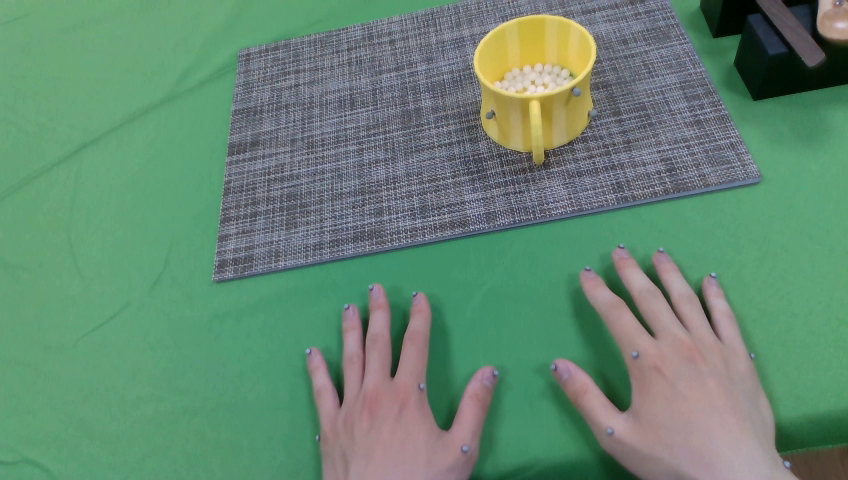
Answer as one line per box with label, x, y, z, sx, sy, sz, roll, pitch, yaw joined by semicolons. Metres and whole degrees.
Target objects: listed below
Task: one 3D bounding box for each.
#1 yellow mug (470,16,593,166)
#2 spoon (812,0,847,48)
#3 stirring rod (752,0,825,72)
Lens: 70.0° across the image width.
yellow mug;0.093;-0.121;0.514;0.100;0.064;0.129;-4;57;10
spoon;0.320;-0.217;0.502;0.041;0.022;0.192;-9;54;12
stirring rod;0.282;-0.201;0.504;0.014;0.006;0.174;-34;50;30
